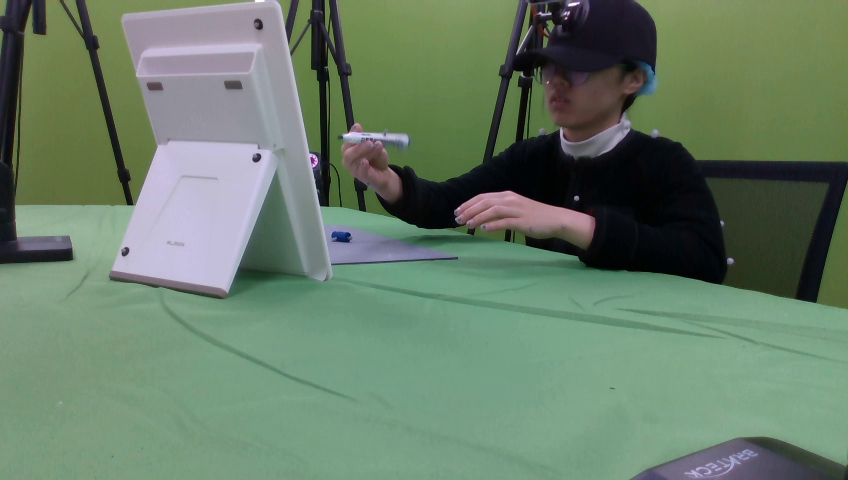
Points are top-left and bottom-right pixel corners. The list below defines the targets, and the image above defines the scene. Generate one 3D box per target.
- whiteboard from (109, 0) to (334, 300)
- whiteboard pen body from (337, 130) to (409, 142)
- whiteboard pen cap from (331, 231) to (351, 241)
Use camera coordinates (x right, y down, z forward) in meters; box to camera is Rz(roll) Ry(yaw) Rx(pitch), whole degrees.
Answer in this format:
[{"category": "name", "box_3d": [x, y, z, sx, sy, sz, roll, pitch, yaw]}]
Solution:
[{"category": "whiteboard", "box_3d": [-0.247, -0.072, 0.624, 0.216, 0.305, 0.144, 6, 28, 26]}, {"category": "whiteboard pen body", "box_3d": [-0.069, -0.143, 0.835, 0.017, 0.017, 0.141, 8, 13, 38]}, {"category": "whiteboard pen cap", "box_3d": [-0.139, -0.007, 1.011, 0.033, 0.018, 0.018, 4, 7, 36]}]
